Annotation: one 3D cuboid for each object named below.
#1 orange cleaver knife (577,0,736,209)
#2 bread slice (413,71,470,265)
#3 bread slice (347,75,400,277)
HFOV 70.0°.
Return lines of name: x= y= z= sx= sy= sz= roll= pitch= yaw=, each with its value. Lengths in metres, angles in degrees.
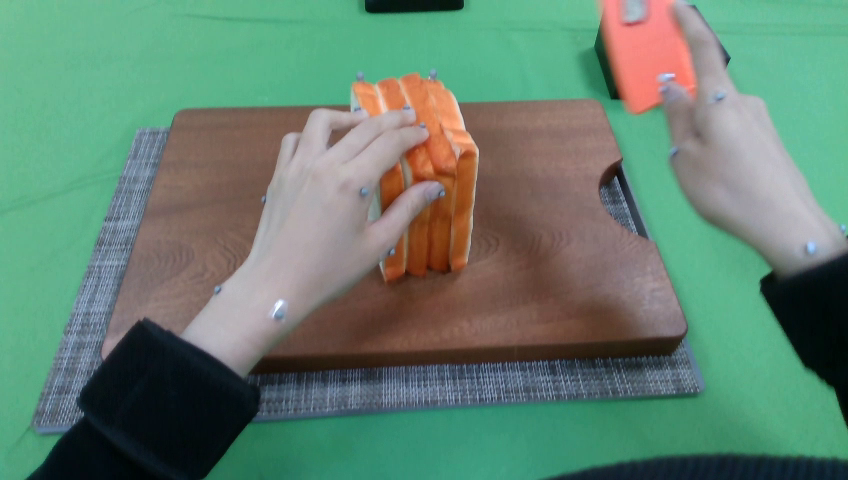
orange cleaver knife: x=0.137 y=-0.114 z=0.384 sx=0.012 sy=0.077 sz=0.210 roll=-14 pitch=81 yaw=-21
bread slice: x=0.010 y=-0.063 z=0.448 sx=0.019 sy=0.106 sz=0.130 roll=-6 pitch=45 yaw=-8
bread slice: x=-0.039 y=-0.054 z=0.442 sx=0.018 sy=0.108 sz=0.133 roll=-7 pitch=43 yaw=-12
